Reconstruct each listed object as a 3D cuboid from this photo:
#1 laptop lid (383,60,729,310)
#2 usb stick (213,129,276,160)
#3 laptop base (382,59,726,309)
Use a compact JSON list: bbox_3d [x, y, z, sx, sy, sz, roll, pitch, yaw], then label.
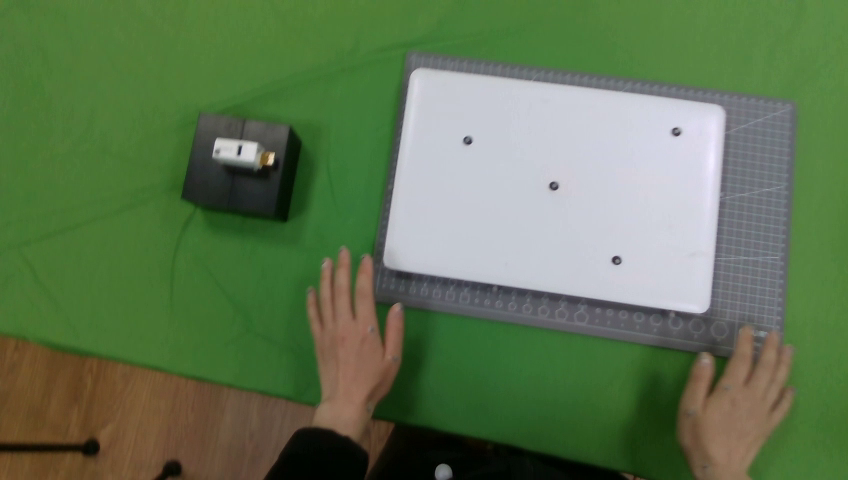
[{"bbox_3d":[0.144,-0.064,0.660,0.356,0.013,0.241,10,85,3],"label":"laptop lid"},{"bbox_3d":[-0.185,-0.098,0.630,0.059,0.027,0.021,9,80,0],"label":"usb stick"},{"bbox_3d":[0.144,-0.064,0.672,0.354,0.023,0.235,8,86,2],"label":"laptop base"}]
